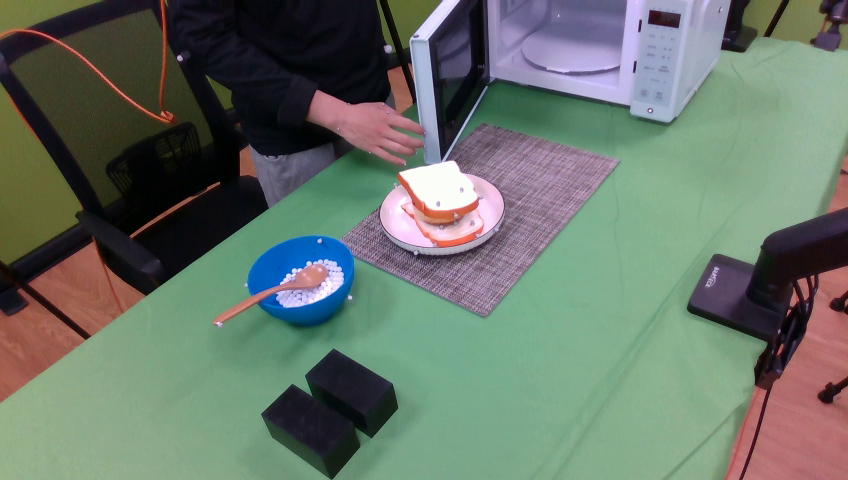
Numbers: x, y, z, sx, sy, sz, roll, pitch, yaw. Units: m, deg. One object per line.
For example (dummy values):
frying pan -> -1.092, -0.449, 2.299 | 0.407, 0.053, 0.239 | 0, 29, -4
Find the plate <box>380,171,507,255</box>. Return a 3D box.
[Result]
plate -> 0.033, -0.042, 0.995 | 0.207, 0.039, 0.206 | -4, 40, 4

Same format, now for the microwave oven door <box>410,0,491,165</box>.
microwave oven door -> 0.062, -0.342, 1.165 | 0.039, 0.245, 0.355 | 9, 43, 19

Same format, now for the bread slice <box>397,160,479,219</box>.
bread slice -> 0.028, -0.081, 0.952 | 0.105, 0.019, 0.130 | -15, 43, -18

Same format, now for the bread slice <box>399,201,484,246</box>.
bread slice -> 0.036, -0.038, 0.990 | 0.107, 0.018, 0.133 | -23, 43, -18

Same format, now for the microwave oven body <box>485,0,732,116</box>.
microwave oven body -> 0.377, -0.462, 1.267 | 0.438, 0.261, 0.327 | 21, 48, 30

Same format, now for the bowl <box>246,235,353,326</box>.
bowl -> -0.170, 0.070, 0.868 | 0.151, 0.077, 0.150 | -4, 41, 4

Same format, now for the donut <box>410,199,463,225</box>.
donut -> 0.028, -0.062, 0.978 | 0.099, 0.048, 0.098 | -4, 38, 4

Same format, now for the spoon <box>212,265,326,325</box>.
spoon -> -0.207, 0.072, 0.822 | 0.041, 0.021, 0.195 | 26, 28, 27

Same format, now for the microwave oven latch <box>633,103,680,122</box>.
microwave oven latch -> 0.444, -0.249, 1.157 | 0.078, 0.029, 0.030 | 21, 49, 30
